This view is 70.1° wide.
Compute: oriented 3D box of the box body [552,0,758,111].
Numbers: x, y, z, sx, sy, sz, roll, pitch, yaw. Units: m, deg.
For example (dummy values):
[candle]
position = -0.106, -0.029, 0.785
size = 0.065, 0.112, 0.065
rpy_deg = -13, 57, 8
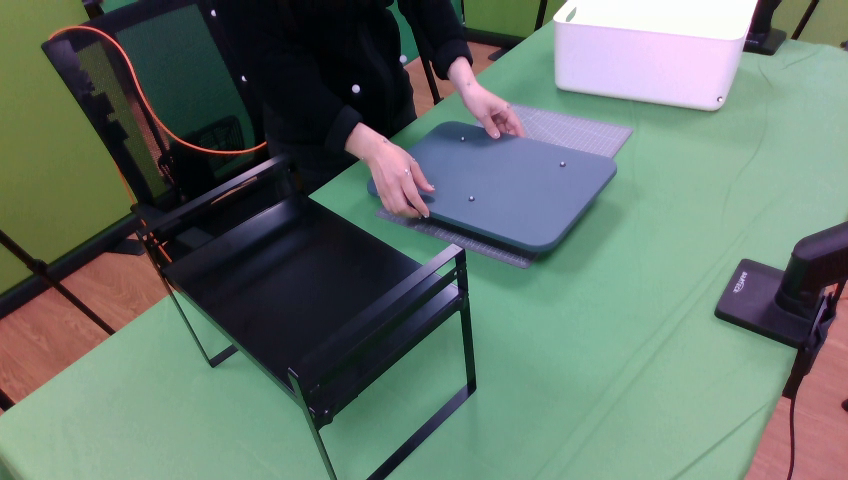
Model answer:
[box body]
position = 0.480, -0.417, 1.282
size = 0.362, 0.161, 0.254
rpy_deg = 16, 46, 25

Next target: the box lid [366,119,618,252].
[box lid]
position = 0.108, -0.109, 1.025
size = 0.368, 0.015, 0.264
rpy_deg = 22, 48, 31

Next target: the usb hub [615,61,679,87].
[usb hub]
position = 0.483, -0.361, 1.312
size = 0.124, 0.025, 0.049
rpy_deg = 19, 49, 28
